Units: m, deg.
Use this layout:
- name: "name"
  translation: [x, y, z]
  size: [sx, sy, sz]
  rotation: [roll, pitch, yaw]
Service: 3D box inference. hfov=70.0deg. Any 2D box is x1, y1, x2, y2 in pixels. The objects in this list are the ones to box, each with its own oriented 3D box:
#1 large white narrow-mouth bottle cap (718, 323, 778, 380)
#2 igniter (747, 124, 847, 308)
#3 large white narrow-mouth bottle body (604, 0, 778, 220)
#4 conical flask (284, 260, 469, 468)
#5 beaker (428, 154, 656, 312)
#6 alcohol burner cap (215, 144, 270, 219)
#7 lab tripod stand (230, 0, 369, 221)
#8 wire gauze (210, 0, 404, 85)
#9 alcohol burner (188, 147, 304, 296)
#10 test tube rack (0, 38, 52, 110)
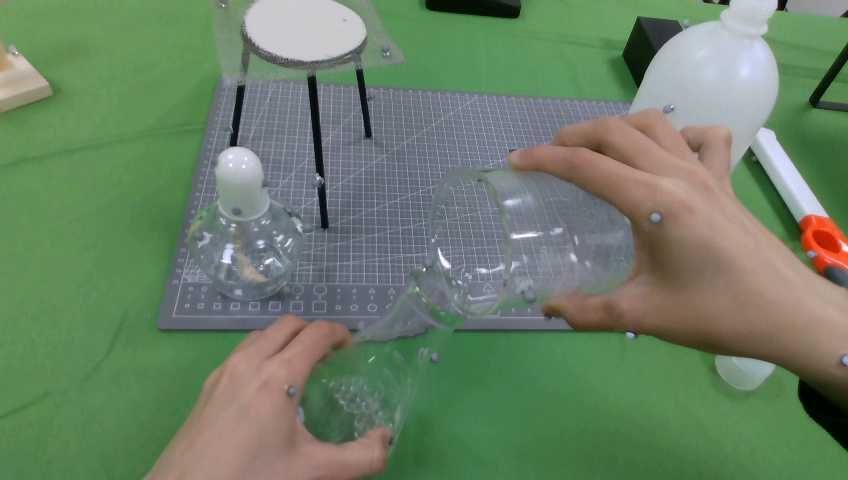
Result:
- name: "large white narrow-mouth bottle cap"
  translation: [0.241, 0.083, 0.452]
  size: [0.038, 0.024, 0.037]
  rotation: [5, 48, -5]
- name: "igniter"
  translation: [0.357, -0.014, 0.551]
  size: [0.057, 0.025, 0.273]
  rotation: [10, 47, -15]
- name: "large white narrow-mouth bottle body"
  translation: [0.225, -0.114, 0.500]
  size: [0.102, 0.196, 0.101]
  rotation: [4, 48, -4]
- name: "conical flask"
  translation: [-0.022, 0.067, 0.344]
  size: [0.076, 0.122, 0.074]
  rotation: [28, 29, -17]
- name: "beaker"
  translation: [0.062, -0.004, 0.317]
  size: [0.101, 0.084, 0.073]
  rotation: [-7, 51, -27]
- name: "alcohol burner cap"
  translation: [-0.116, -0.039, 0.382]
  size: [0.034, 0.048, 0.033]
  rotation: [4, 55, -6]
- name: "lab tripod stand"
  translation: [-0.092, -0.110, 0.484]
  size: [0.149, 0.132, 0.147]
  rotation: [6, 49, -7]
- name: "wire gauze"
  translation: [-0.088, -0.156, 0.435]
  size: [0.122, 0.011, 0.123]
  rotation: [-9, 53, -18]
- name: "alcohol burner"
  translation: [-0.121, -0.016, 0.410]
  size: [0.078, 0.120, 0.077]
  rotation: [6, 47, -6]
- name: "test tube rack"
  translation: [-0.443, -0.125, 0.473]
  size: [0.242, 0.086, 0.066]
  rotation: [-34, 62, -32]
